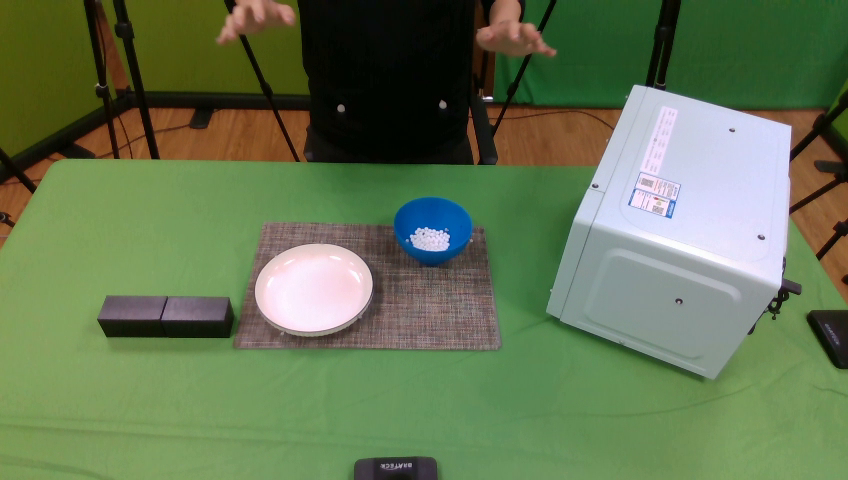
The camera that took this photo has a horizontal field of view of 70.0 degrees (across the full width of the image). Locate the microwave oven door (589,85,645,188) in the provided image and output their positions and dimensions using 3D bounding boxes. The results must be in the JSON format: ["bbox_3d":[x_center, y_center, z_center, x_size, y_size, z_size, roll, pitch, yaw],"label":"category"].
[{"bbox_3d":[0.342,-0.107,1.149,0.039,0.245,0.354,20,48,15],"label":"microwave oven door"}]

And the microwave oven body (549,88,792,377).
[{"bbox_3d":[0.456,-0.028,1.088,0.325,0.261,0.440,20,47,16],"label":"microwave oven body"}]

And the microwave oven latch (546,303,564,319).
[{"bbox_3d":[0.242,0.102,1.081,0.030,0.029,0.079,21,48,17],"label":"microwave oven latch"}]

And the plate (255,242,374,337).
[{"bbox_3d":[-0.192,0.090,1.080,0.208,0.039,0.206,2,46,-2],"label":"plate"}]

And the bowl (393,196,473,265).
[{"bbox_3d":[0.014,-0.005,1.159,0.151,0.077,0.150,2,46,-2],"label":"bowl"}]
